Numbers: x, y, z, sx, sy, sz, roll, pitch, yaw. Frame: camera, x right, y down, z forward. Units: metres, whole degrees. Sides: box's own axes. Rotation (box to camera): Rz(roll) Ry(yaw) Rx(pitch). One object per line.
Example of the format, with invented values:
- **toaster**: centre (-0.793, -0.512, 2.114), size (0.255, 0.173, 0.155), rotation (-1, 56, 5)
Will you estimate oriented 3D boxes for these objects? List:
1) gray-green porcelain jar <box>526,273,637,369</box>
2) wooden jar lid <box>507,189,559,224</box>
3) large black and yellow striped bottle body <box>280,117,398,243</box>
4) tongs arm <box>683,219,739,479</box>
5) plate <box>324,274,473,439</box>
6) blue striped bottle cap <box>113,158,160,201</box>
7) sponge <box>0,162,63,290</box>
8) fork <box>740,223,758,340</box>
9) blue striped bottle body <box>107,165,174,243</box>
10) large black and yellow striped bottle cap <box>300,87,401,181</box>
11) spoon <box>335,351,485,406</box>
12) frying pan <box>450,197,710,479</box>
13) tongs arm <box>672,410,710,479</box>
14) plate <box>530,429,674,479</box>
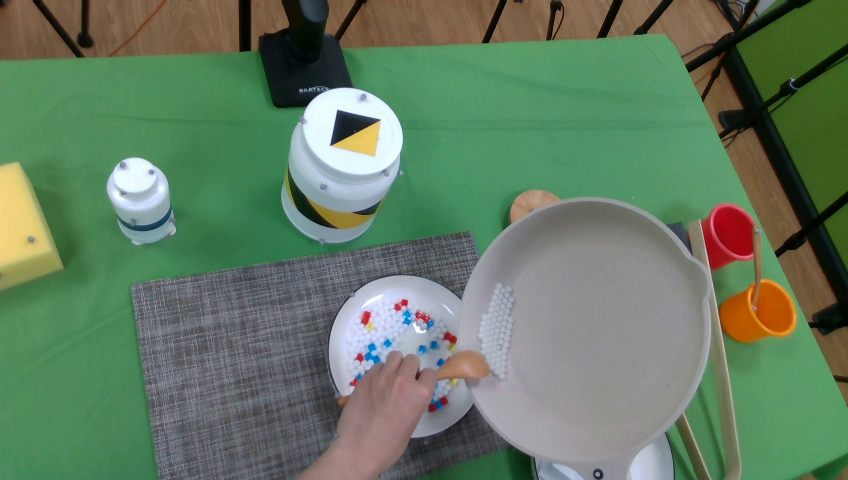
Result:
- **gray-green porcelain jar**: centre (0.205, 0.114, 0.815), size (0.106, 0.127, 0.105), rotation (7, 65, -16)
- **wooden jar lid**: centre (0.175, -0.026, 0.925), size (0.109, 0.021, 0.107), rotation (7, 68, -16)
- **large black and yellow striped bottle body**: centre (-0.108, -0.087, 0.760), size (0.131, 0.184, 0.130), rotation (7, 65, -16)
- **tongs arm**: centre (0.419, 0.157, 0.891), size (0.028, 0.027, 0.385), rotation (1, 77, -26)
- **plate**: centre (-0.024, 0.145, 0.769), size (0.210, 0.038, 0.207), rotation (7, 66, -16)
- **blue striped bottle cap**: centre (-0.312, -0.066, 0.656), size (0.045, 0.021, 0.044), rotation (7, 64, -13)
- **sponge**: centre (-0.521, 0.008, 0.645), size (0.207, 0.061, 0.117), rotation (-24, 77, -27)
- **fork**: centre (0.498, 0.066, 0.923), size (0.028, 0.018, 0.209), rotation (-24, 121, -18)
- **blue striped bottle body**: centre (-0.327, -0.047, 0.702), size (0.063, 0.121, 0.062), rotation (7, 66, -16)
- **large black and yellow striped bottle cap**: centre (-0.082, -0.121, 0.687), size (0.115, 0.019, 0.114), rotation (7, 67, -17)
- **spoon**: centre (-0.010, 0.159, 0.679), size (0.194, 0.022, 0.041), rotation (-11, 44, -31)
- **frying pan**: centre (0.174, 0.186, 0.627), size (0.104, 0.306, 0.483), rotation (32, 44, -42)
- **tongs arm**: centre (0.342, 0.170, 0.858), size (0.051, 0.026, 0.383), rotation (-15, 84, -26)
- **plate**: centre (0.231, 0.287, 0.802), size (0.208, 0.039, 0.206), rotation (7, 66, -16)
